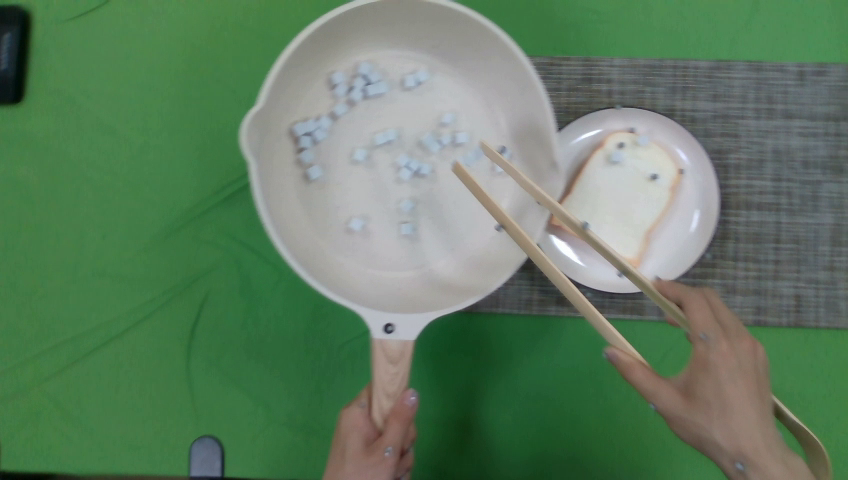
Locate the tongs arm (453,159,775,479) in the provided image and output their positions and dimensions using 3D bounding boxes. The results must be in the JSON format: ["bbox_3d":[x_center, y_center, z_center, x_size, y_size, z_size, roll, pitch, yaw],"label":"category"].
[{"bbox_3d":[0.162,0.068,0.503,0.028,0.028,0.386,-42,80,-16],"label":"tongs arm"}]

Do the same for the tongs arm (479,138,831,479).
[{"bbox_3d":[0.178,0.053,0.507,0.383,0.026,0.050,41,77,8],"label":"tongs arm"}]

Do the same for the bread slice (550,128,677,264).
[{"bbox_3d":[0.214,-0.056,0.675,0.107,0.018,0.134,26,90,4],"label":"bread slice"}]

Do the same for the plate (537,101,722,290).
[{"bbox_3d":[0.217,-0.048,0.672,0.207,0.039,0.207,0,86,4],"label":"plate"}]

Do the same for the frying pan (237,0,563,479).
[{"bbox_3d":[-0.025,0.028,0.565,0.308,0.102,0.486,6,83,-17],"label":"frying pan"}]
